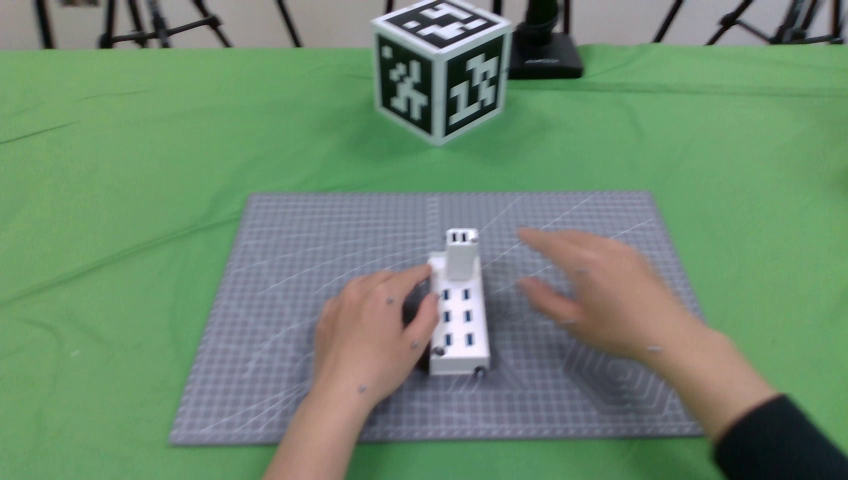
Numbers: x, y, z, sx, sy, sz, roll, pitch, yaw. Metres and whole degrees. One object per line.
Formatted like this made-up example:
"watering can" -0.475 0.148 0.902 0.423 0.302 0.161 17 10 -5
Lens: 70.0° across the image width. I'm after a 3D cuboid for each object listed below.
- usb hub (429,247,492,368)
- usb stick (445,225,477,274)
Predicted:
"usb hub" 0.030 0.057 0.545 0.049 0.025 0.124 -1 44 -1
"usb stick" 0.033 0.014 0.547 0.027 0.060 0.021 -3 45 -2
